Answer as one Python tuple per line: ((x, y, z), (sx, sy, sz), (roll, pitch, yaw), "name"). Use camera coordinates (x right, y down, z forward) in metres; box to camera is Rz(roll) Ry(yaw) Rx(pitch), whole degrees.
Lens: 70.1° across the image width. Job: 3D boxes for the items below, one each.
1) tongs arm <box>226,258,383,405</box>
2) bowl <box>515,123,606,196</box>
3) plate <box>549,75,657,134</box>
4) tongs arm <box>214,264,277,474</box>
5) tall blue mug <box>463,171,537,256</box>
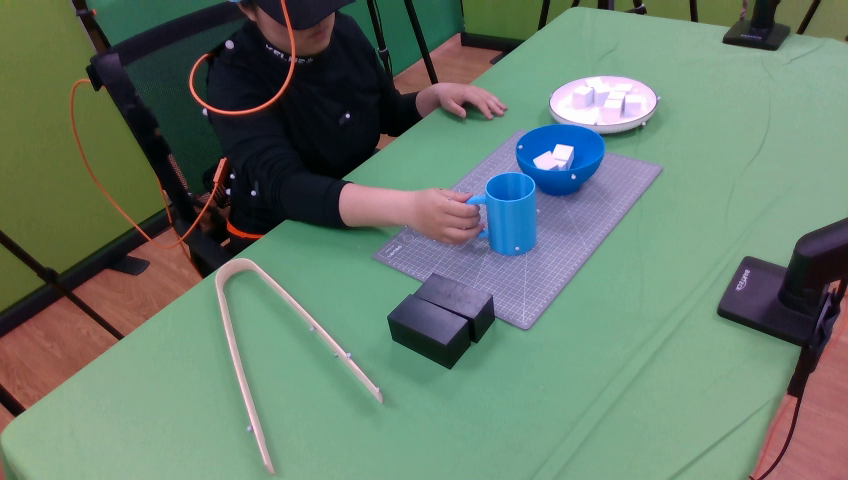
((-0.185, 0.121, 0.863), (0.051, 0.027, 0.381), (-34, 45, -20), "tongs arm")
((0.234, -0.130, 1.044), (0.151, 0.077, 0.150), (-5, 40, 5), "bowl")
((0.357, -0.269, 1.220), (0.209, 0.038, 0.208), (-5, 41, 5), "plate")
((-0.251, 0.158, 0.838), (0.028, 0.028, 0.384), (-27, 43, -8), "tongs arm")
((0.122, -0.035, 0.929), (0.107, 0.108, 0.077), (-22, 43, -15), "tall blue mug")
